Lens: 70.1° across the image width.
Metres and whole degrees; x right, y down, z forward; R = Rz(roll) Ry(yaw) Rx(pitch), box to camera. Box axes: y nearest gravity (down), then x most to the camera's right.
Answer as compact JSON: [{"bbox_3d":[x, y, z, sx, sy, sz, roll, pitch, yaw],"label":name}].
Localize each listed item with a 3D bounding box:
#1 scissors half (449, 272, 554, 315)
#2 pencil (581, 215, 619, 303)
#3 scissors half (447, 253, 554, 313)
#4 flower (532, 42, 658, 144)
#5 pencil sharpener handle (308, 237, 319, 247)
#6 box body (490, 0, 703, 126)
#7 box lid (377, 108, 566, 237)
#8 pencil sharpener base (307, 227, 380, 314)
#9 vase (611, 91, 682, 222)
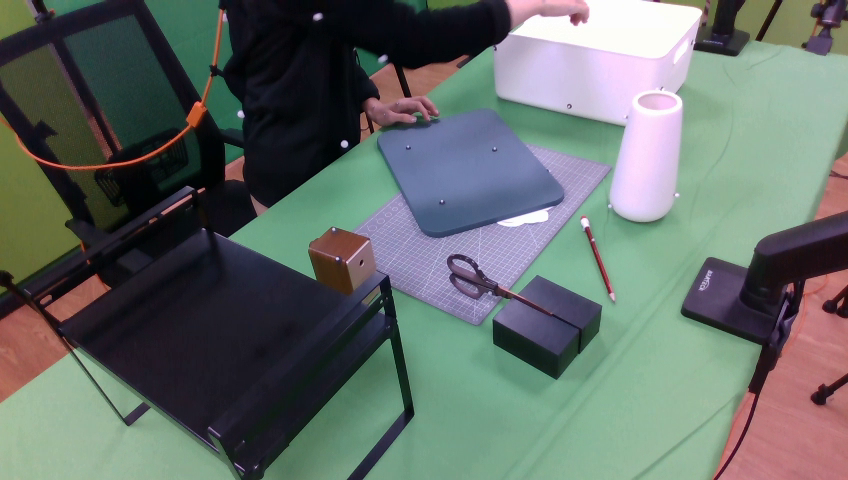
[{"bbox_3d":[0.104,0.076,0.834,0.173,0.040,0.013,15,47,42],"label":"scissors half"},{"bbox_3d":[0.266,0.025,0.917,0.012,0.012,0.193,-6,41,1],"label":"pencil"},{"bbox_3d":[0.101,0.060,0.822,0.174,0.040,0.013,29,50,29],"label":"scissors half"},{"bbox_3d":[0.370,-0.321,1.322,0.359,0.044,0.038,46,35,22],"label":"flower"},{"bbox_3d":[-0.158,0.017,0.892,0.030,0.068,0.036,18,61,28],"label":"pencil sharpener handle"},{"bbox_3d":[0.352,-0.385,1.268,0.361,0.161,0.255,21,48,29],"label":"box body"},{"bbox_3d":[0.074,-0.141,1.137,0.264,0.015,0.368,-16,40,-10],"label":"box lid"},{"bbox_3d":[-0.116,0.043,0.875,0.076,0.107,0.061,18,47,28],"label":"pencil sharpener base"},{"bbox_3d":[0.348,-0.125,0.935,0.098,0.201,0.097,-3,40,3],"label":"vase"}]
